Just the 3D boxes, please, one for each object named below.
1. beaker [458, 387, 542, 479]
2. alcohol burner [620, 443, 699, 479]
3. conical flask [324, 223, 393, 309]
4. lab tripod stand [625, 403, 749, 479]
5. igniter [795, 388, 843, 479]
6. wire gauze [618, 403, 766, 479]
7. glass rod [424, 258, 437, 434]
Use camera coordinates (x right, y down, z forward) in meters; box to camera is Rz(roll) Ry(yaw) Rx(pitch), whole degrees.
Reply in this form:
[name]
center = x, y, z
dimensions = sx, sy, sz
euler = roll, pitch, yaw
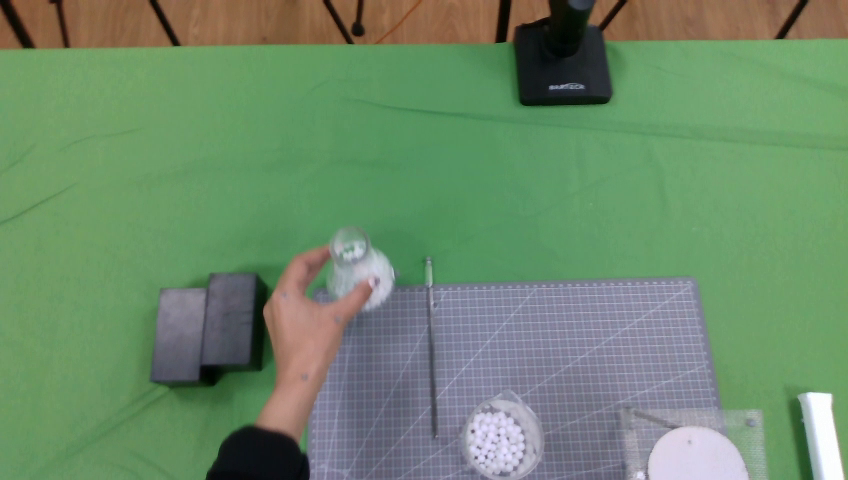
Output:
[beaker]
center = 0.072, 0.194, 0.604
dimensions = 0.074, 0.101, 0.083
euler = 9, 69, 2
[alcohol burner]
center = 0.233, 0.236, 0.584
dimensions = 0.078, 0.120, 0.077
euler = 0, 70, 2
[conical flask]
center = -0.070, 0.021, 0.607
dimensions = 0.075, 0.122, 0.075
euler = 0, 71, -1
[lab tripod stand]
center = 0.231, 0.226, 0.577
dimensions = 0.148, 0.132, 0.147
euler = 0, 72, -1
[igniter]
center = 0.418, 0.291, 0.616
dimensions = 0.057, 0.025, 0.274
euler = 6, 70, -10
[wire gauze]
center = 0.233, 0.201, 0.514
dimensions = 0.125, 0.011, 0.120
euler = 1, 72, 0
[glass rod]
center = 0.007, 0.114, 0.679
dimensions = 0.008, 0.008, 0.198
euler = -2, 70, -2
